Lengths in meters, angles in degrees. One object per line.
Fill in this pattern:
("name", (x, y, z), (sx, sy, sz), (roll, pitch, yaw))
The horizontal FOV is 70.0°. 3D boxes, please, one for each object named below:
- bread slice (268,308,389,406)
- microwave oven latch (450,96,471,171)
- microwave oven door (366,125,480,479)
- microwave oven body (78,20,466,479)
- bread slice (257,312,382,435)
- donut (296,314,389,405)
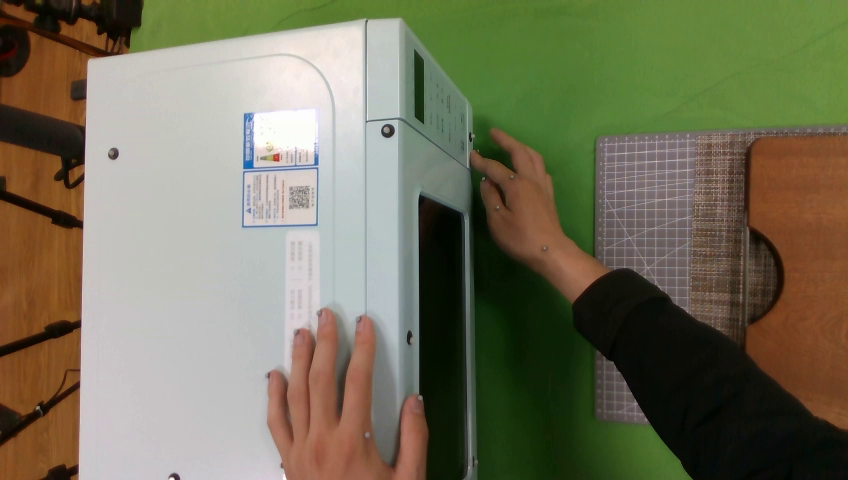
("bread slice", (-0.107, 0.128, 0.666), (0.131, 0.019, 0.105), (4, 98, 5))
("microwave oven latch", (0.036, -0.115, 0.662), (0.030, 0.029, 0.079), (-1, 87, 17))
("microwave oven door", (0.005, 0.097, 0.554), (0.039, 0.245, 0.355), (-2, 86, 18))
("microwave oven body", (-0.133, 0.060, 0.605), (0.325, 0.261, 0.441), (-2, 87, 17))
("bread slice", (-0.105, 0.136, 0.579), (0.134, 0.018, 0.106), (-22, 84, 29))
("donut", (-0.085, 0.123, 0.624), (0.099, 0.048, 0.099), (2, 107, 6))
